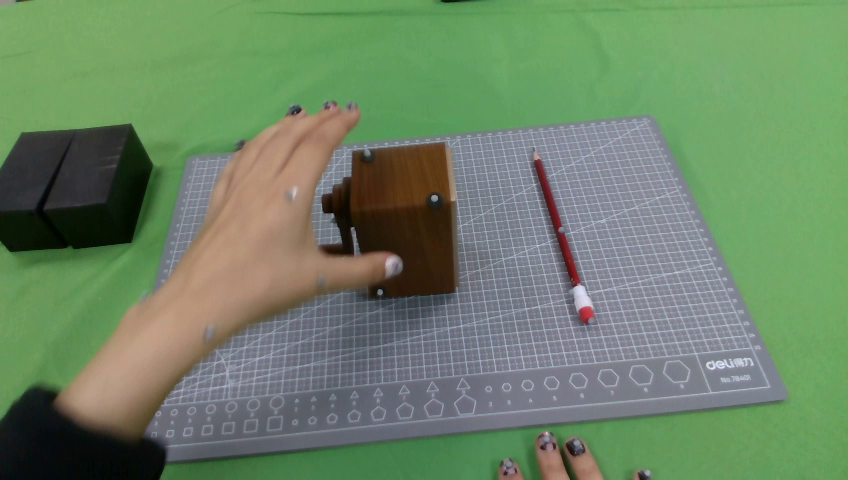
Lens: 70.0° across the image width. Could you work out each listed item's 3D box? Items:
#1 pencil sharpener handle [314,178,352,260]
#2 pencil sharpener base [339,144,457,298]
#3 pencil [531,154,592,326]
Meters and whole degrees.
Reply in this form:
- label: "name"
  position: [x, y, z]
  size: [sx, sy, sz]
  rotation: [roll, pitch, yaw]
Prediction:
- label: "pencil sharpener handle"
  position: [-0.068, -0.012, 0.434]
  size: [0.030, 0.068, 0.035]
  rotation: [-5, 40, 1]
- label: "pencil sharpener base"
  position: [-0.017, -0.010, 0.445]
  size: [0.077, 0.108, 0.060]
  rotation: [-5, 50, 1]
- label: "pencil"
  position: [0.109, -0.010, 0.502]
  size: [0.012, 0.012, 0.192]
  rotation: [-6, 48, -1]
